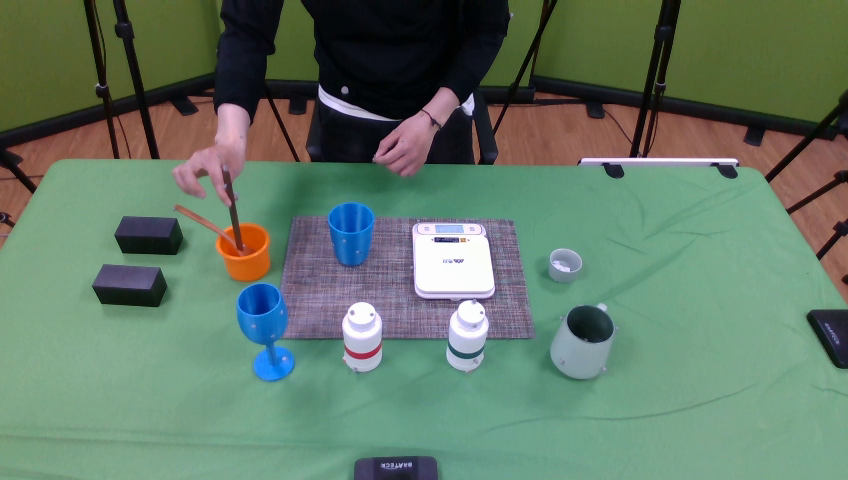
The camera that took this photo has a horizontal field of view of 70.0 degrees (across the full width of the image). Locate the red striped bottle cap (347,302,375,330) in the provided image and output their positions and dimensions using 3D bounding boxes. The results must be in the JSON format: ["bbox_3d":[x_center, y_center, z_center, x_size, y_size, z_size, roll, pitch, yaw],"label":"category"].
[{"bbox_3d":[-0.097,0.116,0.934,0.044,0.018,0.044,2,48,-2],"label":"red striped bottle cap"}]

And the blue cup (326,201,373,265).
[{"bbox_3d":[-0.138,-0.007,1.131,0.093,0.101,0.092,3,46,-3],"label":"blue cup"}]

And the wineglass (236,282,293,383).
[{"bbox_3d":[-0.243,0.143,0.934,0.074,0.173,0.073,2,46,-2],"label":"wineglass"}]

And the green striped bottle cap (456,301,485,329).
[{"bbox_3d":[0.073,0.116,0.943,0.044,0.020,0.044,3,46,-3],"label":"green striped bottle cap"}]

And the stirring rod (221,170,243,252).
[{"bbox_3d":[-0.320,-0.045,1.016,0.014,0.177,0.006,22,45,17],"label":"stirring rod"}]

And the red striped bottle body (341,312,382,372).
[{"bbox_3d":[-0.100,0.154,0.972,0.063,0.120,0.062,2,46,-1],"label":"red striped bottle body"}]

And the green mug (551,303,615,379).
[{"bbox_3d":[0.271,0.157,1.007,0.092,0.105,0.125,27,50,21],"label":"green mug"}]

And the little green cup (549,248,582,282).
[{"bbox_3d":[0.268,0.050,1.156,0.061,0.039,0.061,1,46,-1],"label":"little green cup"}]

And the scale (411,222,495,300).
[{"bbox_3d":[0.052,0.031,1.158,0.149,0.032,0.199,1,46,-4],"label":"scale"}]

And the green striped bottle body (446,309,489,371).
[{"bbox_3d":[0.070,0.155,0.984,0.063,0.120,0.063,2,46,-2],"label":"green striped bottle body"}]

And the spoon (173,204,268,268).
[{"bbox_3d":[-0.363,-0.008,1.089,0.021,0.195,0.041,-32,33,27],"label":"spoon"}]
